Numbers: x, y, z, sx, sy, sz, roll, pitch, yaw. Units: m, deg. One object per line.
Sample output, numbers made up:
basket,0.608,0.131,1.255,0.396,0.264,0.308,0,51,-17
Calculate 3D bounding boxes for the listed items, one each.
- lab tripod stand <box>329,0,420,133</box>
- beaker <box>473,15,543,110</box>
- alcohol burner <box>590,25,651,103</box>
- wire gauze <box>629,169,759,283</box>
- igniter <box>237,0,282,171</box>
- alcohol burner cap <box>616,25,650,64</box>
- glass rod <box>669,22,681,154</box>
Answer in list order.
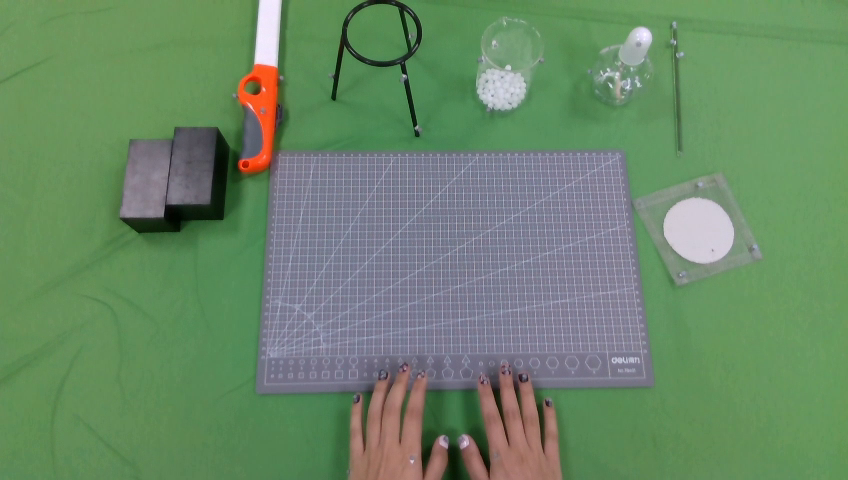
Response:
lab tripod stand,-0.050,-0.218,0.736,0.148,0.132,0.147,0,71,0
beaker,0.100,-0.219,0.759,0.074,0.101,0.083,-9,72,-5
alcohol burner,0.251,-0.225,0.759,0.078,0.120,0.077,1,70,-1
wire gauze,0.336,-0.018,0.752,0.125,0.011,0.120,-18,74,-5
igniter,-0.210,-0.215,0.785,0.057,0.025,0.275,5,72,-16
alcohol burner cap,0.253,-0.236,0.724,0.034,0.048,0.033,0,77,1
glass rod,0.336,-0.207,0.810,0.008,0.008,0.198,5,73,-1
